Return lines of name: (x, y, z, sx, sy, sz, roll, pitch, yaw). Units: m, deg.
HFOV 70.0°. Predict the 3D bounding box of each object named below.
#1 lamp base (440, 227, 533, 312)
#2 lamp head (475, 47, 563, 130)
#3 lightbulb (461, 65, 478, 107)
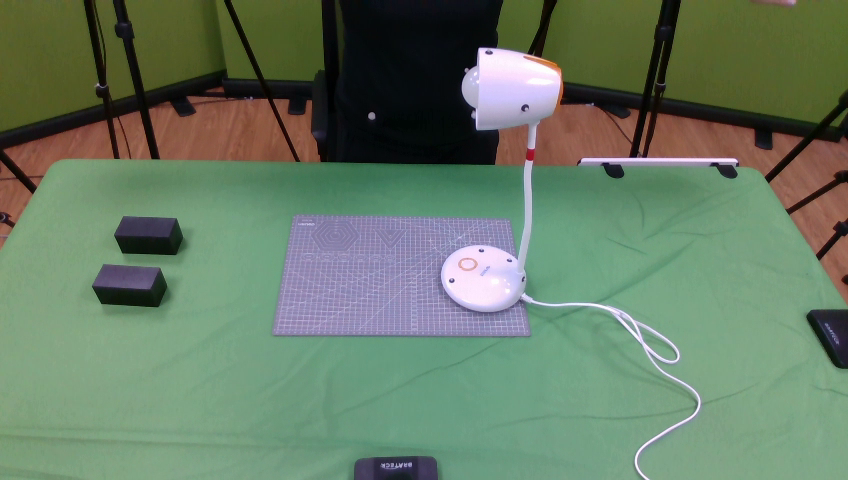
lamp base: (0.126, 0.021, 1.072, 0.179, 0.181, 0.160, 22, 49, 13)
lamp head: (0.129, -0.206, 0.840, 0.123, 0.113, 0.112, 5, 45, -1)
lightbulb: (0.106, -0.214, 0.850, 0.108, 0.060, 0.059, 4, 45, -3)
